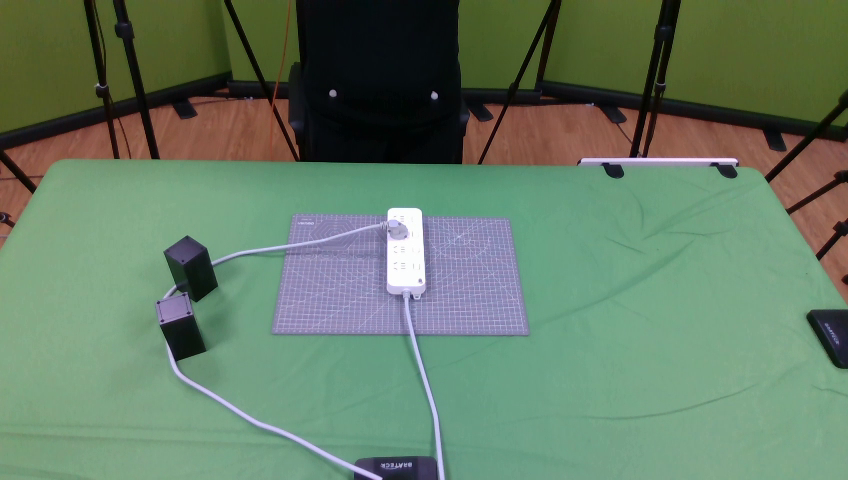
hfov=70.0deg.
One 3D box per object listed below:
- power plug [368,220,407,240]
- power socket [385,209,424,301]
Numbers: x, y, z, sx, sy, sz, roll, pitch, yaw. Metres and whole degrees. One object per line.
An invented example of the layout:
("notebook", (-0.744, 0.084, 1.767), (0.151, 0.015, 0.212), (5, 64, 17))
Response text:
("power plug", (-0.068, -0.018, 1.172), (0.072, 0.053, 0.035), (7, 45, 5))
("power socket", (-0.039, 0.019, 1.165), (0.072, 0.033, 0.225), (0, 46, -3))
